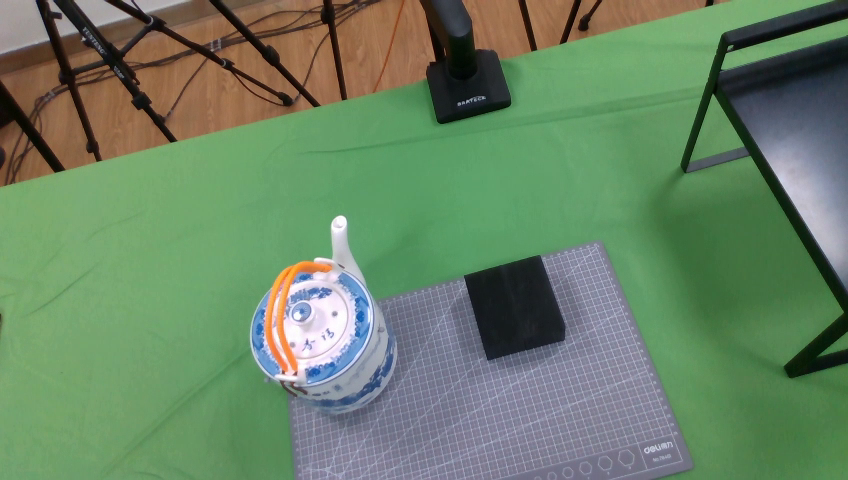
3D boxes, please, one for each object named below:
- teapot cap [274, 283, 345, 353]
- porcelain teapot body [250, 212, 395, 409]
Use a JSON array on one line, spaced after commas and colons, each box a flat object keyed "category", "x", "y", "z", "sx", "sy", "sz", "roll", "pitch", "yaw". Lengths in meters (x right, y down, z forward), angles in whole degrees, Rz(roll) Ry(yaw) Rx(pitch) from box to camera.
[{"category": "teapot cap", "x": -0.129, "y": 0.082, "z": 0.660, "sx": 0.085, "sy": 0.044, "sz": 0.084, "roll": -6, "pitch": 59, "yaw": 11}, {"category": "porcelain teapot body", "x": -0.117, "y": 0.075, "z": 0.706, "sx": 0.145, "sy": 0.227, "sz": 0.204, "roll": 5, "pitch": 63, "yaw": 13}]
